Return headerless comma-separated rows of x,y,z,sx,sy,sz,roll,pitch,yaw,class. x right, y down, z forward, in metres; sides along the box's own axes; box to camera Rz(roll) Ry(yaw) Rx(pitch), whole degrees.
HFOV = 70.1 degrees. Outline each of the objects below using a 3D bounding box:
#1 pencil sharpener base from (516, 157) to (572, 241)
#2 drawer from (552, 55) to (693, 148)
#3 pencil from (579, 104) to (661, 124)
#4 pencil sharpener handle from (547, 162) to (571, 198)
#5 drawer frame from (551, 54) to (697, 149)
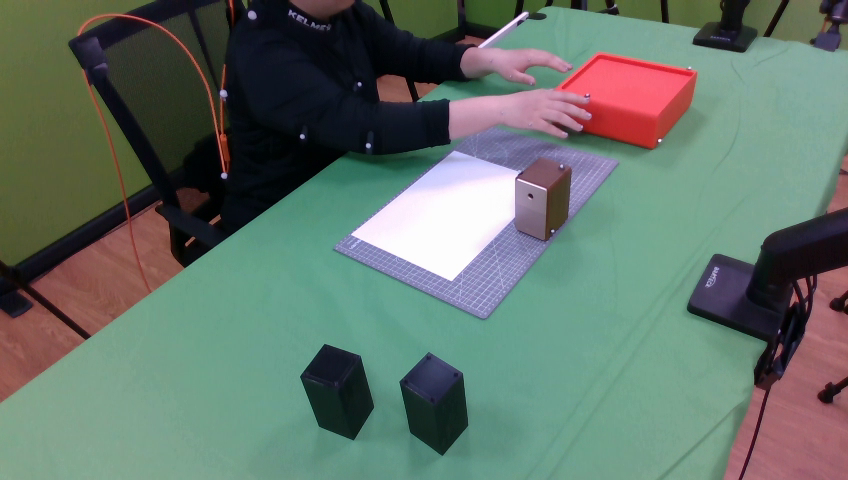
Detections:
0.189,-0.065,0.948,0.061,0.107,0.077,24,49,33,pencil sharpener base
0.390,-0.278,1.196,0.210,0.073,0.195,24,49,30,drawer
0.395,-0.255,1.212,0.195,0.012,0.012,-14,40,-17,pencil
0.221,-0.101,0.967,0.035,0.068,0.031,18,46,38,pencil sharpener handle
0.391,-0.280,1.194,0.212,0.083,0.202,23,48,30,drawer frame
